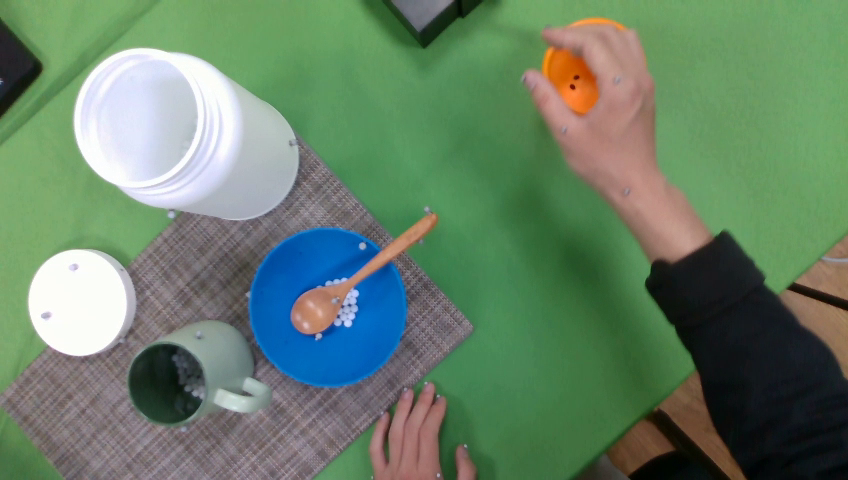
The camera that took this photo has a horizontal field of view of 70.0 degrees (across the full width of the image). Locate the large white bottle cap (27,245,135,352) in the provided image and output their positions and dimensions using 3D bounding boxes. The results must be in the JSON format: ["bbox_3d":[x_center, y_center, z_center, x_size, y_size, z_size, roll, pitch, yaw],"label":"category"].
[{"bbox_3d":[-0.370,0.063,0.653,0.115,0.018,0.115,0,91,5],"label":"large white bottle cap"}]

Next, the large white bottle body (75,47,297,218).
[{"bbox_3d":[-0.206,-0.091,0.552,0.130,0.185,0.130,0,88,7],"label":"large white bottle body"}]

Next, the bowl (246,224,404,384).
[{"bbox_3d":[-0.089,0.060,0.599,0.151,0.077,0.151,0,92,5],"label":"bowl"}]

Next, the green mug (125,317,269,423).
[{"bbox_3d":[-0.214,0.133,0.598,0.125,0.105,0.092,21,92,4],"label":"green mug"}]

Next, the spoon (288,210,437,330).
[{"bbox_3d":[-0.060,0.030,0.568,0.194,0.021,0.041,-36,92,28],"label":"spoon"}]
